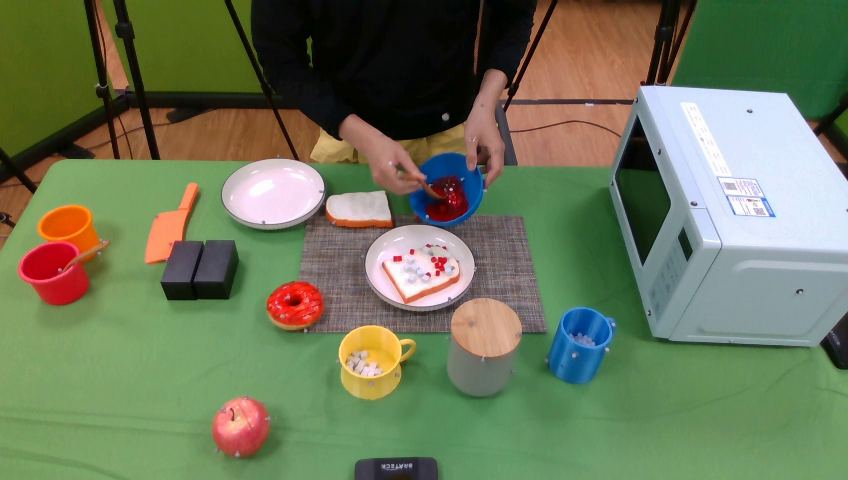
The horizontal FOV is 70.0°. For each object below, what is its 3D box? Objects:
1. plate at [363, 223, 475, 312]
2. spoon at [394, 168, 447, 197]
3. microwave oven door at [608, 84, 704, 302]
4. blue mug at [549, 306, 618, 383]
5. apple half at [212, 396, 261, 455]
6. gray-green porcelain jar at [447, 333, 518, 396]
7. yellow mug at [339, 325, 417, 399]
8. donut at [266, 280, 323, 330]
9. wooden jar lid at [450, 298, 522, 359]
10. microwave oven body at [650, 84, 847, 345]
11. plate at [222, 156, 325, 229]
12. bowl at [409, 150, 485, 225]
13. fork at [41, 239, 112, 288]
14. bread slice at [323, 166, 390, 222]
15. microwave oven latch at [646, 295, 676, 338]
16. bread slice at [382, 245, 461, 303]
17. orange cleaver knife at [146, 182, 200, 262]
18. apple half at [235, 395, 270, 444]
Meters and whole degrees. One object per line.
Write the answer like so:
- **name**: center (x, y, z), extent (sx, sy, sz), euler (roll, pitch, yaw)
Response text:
- **plate**: center (-0.009, 0.054, 1.126), extent (0.208, 0.039, 0.206), euler (2, 46, -2)
- **spoon**: center (-0.006, -0.108, 1.121), extent (0.041, 0.194, 0.021), euler (36, 95, 27)
- **microwave oven door**: center (0.424, -0.096, 1.138), extent (0.039, 0.245, 0.353), euler (2, 46, -1)
- **blue mug**: center (0.269, 0.167, 0.997), extent (0.116, 0.106, 0.082), euler (-19, 50, -21)
- **apple half**: center (-0.276, 0.276, 0.877), extent (0.053, 0.075, 0.080), euler (-29, 58, -21)
- **gray-green porcelain jar**: center (0.091, 0.178, 0.960), extent (0.106, 0.127, 0.105), euler (2, 46, -2)
- **yellow mug**: center (-0.072, 0.190, 0.978), extent (0.131, 0.064, 0.099), euler (-17, 50, -20)
- **donut**: center (-0.223, 0.113, 1.051), extent (0.099, 0.048, 0.098), euler (2, 46, -2)
- **wooden jar lid**: center (0.093, 0.135, 0.914), extent (0.108, 0.021, 0.107), euler (3, 48, -3)
- **microwave oven body**: center (0.569, -0.054, 1.116), extent (0.326, 0.261, 0.439), euler (2, 46, -1)
- **plate**: center (-0.308, -0.095, 1.251), extent (0.209, 0.038, 0.208), euler (2, 46, -2)
- **bowl**: center (0.054, -0.091, 1.180), extent (0.151, 0.077, 0.150), euler (-8, 68, 20)
- **fork**: center (-0.591, 0.040, 1.028), extent (0.207, 0.019, 0.028), euler (-27, 36, 29)
- **bread slice**: center (-0.140, -0.092, 1.224), extent (0.134, 0.018, 0.106), euler (-19, 51, 6)
- **microwave oven latch**: center (0.413, 0.133, 1.060), extent (0.030, 0.029, 0.078), euler (4, 46, 1)
- **bread slice**: center (0.001, 0.055, 1.129), extent (0.131, 0.019, 0.104), euler (-21, 52, -19)
- **orange cleaver knife**: center (-0.494, -0.039, 1.198), extent (0.077, 0.012, 0.210), euler (-3, 48, 2)
- **apple half**: center (-0.245, 0.259, 0.893), extent (0.033, 0.082, 0.081), euler (-29, 55, -22)
